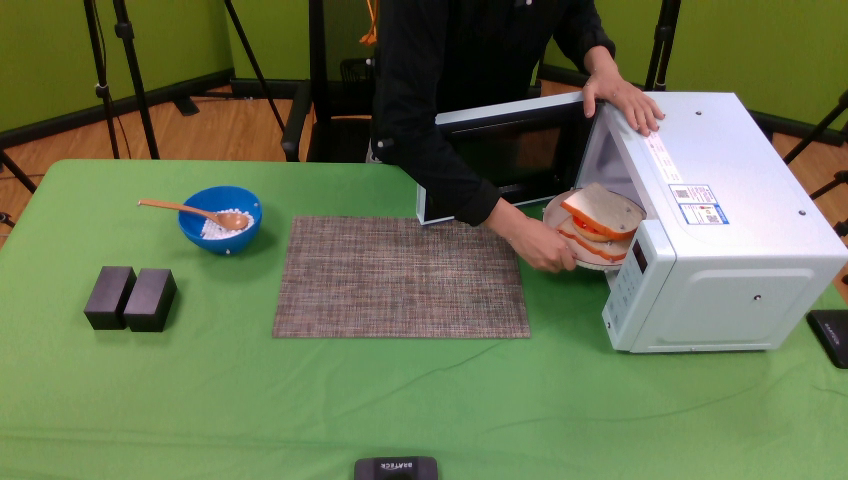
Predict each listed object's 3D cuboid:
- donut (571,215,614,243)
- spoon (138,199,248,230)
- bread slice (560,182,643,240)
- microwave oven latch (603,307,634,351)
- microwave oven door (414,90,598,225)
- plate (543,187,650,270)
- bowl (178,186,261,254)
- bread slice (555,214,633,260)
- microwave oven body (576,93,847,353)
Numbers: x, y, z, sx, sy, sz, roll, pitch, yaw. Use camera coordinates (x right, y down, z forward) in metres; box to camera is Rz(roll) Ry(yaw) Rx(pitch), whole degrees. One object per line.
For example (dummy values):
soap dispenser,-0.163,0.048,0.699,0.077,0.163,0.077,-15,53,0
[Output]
donut,0.324,-0.037,1.125,0.099,0.048,0.098,0,47,0
spoon,-0.431,-0.053,1.135,0.194,0.022,0.041,15,48,-20
bread slice,0.331,-0.053,1.100,0.105,0.019,0.131,-32,56,-32
microwave oven latch,0.332,0.153,1.044,0.030,0.029,0.078,0,45,-3
microwave oven door,0.158,-0.161,1.195,0.356,0.245,0.039,-12,48,-16
plate,0.327,-0.018,1.146,0.208,0.039,0.206,0,47,0
bowl,-0.383,-0.026,1.158,0.151,0.077,0.150,2,46,-2
bread slice,0.332,-0.017,1.141,0.133,0.018,0.107,34,57,25
microwave oven body,0.475,-0.041,1.109,0.326,0.261,0.438,-1,45,-4
